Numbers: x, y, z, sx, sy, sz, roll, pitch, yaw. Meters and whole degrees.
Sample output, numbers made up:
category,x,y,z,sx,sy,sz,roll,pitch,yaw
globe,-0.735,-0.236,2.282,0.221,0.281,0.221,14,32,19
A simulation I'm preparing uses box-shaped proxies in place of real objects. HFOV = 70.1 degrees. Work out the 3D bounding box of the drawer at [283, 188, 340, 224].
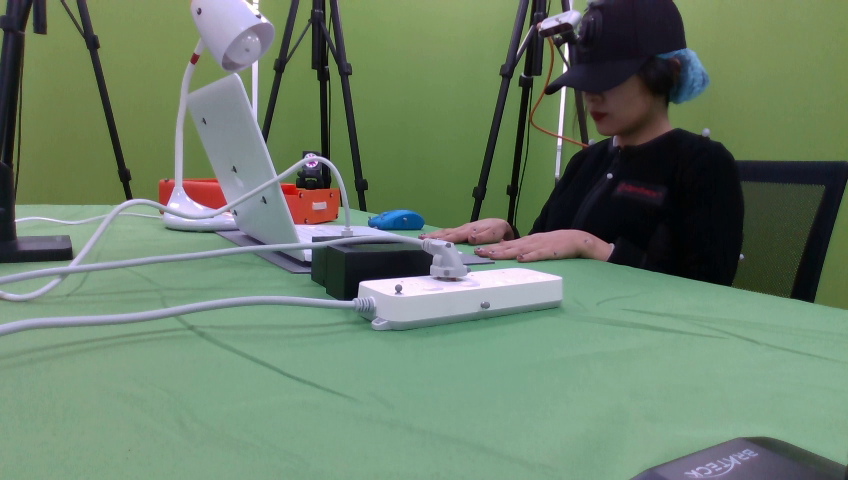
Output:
category,x,y,z,sx,sy,sz,roll,pitch,yaw
drawer,-0.314,-0.078,1.301,0.211,0.073,0.195,4,8,15

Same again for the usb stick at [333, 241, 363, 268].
category,x,y,z,sx,sy,sz,roll,pitch,yaw
usb stick,-0.097,0.017,0.743,0.021,0.027,0.059,0,7,-31

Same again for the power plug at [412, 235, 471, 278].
category,x,y,z,sx,sy,sz,roll,pitch,yaw
power plug,0.017,0.023,0.588,0.035,0.052,0.072,-1,7,-24

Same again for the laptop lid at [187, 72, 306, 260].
category,x,y,z,sx,sy,sz,roll,pitch,yaw
laptop lid,-0.263,-0.102,0.852,0.013,0.242,0.355,-25,20,-25

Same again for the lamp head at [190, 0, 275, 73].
category,x,y,z,sx,sy,sz,roll,pitch,yaw
lamp head,-0.330,-0.355,1.008,0.123,0.112,0.112,43,15,6

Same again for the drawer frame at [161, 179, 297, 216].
category,x,y,z,sx,sy,sz,roll,pitch,yaw
drawer frame,-0.421,-0.089,1.329,0.213,0.082,0.202,4,8,16

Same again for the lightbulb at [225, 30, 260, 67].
category,x,y,z,sx,sy,sz,roll,pitch,yaw
lightbulb,-0.319,-0.334,1.000,0.107,0.059,0.059,44,14,4

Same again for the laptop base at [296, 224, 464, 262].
category,x,y,z,sx,sy,sz,roll,pitch,yaw
laptop base,-0.127,0.002,0.947,0.237,0.023,0.352,2,6,-30

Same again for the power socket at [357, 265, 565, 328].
category,x,y,z,sx,sy,sz,roll,pitch,yaw
power socket,0.041,0.049,0.572,0.228,0.032,0.072,-3,8,-35

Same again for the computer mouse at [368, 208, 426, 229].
category,x,y,z,sx,sy,sz,roll,pitch,yaw
computer mouse,-0.057,-0.044,1.267,0.118,0.041,0.062,-6,12,-28

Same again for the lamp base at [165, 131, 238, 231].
category,x,y,z,sx,sy,sz,roll,pitch,yaw
lamp base,-0.407,-0.112,1.119,0.179,0.180,0.161,-1,7,7
